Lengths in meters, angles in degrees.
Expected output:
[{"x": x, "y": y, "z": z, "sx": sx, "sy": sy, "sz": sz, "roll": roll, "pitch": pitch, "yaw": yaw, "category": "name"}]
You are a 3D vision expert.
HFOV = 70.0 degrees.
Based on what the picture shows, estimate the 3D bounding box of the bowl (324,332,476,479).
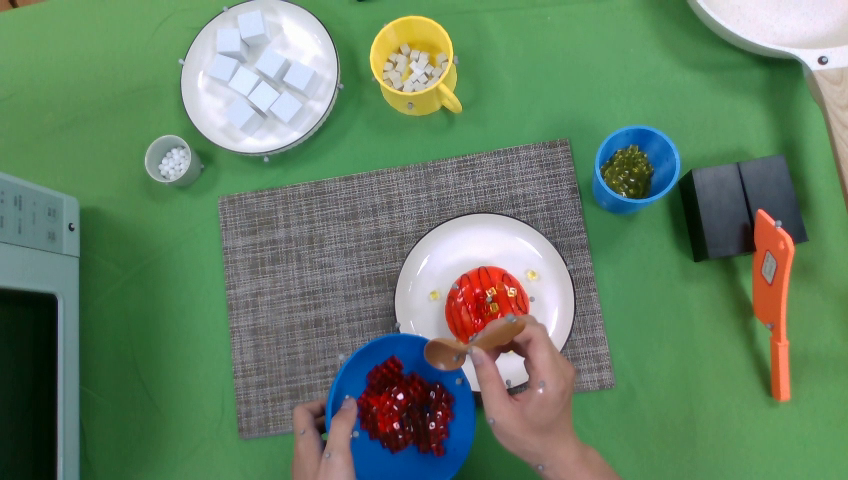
[{"x": -0.033, "y": 0.172, "z": 0.599, "sx": 0.152, "sy": 0.077, "sz": 0.150, "roll": 8, "pitch": 70, "yaw": -23, "category": "bowl"}]

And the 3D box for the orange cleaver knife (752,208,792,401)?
[{"x": 0.371, "y": 0.072, "z": 0.651, "sx": 0.012, "sy": 0.077, "sz": 0.212, "roll": -10, "pitch": 109, "yaw": 5, "category": "orange cleaver knife"}]

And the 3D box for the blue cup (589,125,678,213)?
[{"x": 0.225, "y": -0.070, "z": 0.679, "sx": 0.092, "sy": 0.100, "sz": 0.092, "roll": -1, "pitch": 80, "yaw": 5, "category": "blue cup"}]

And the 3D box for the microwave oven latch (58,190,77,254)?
[{"x": -0.458, "y": -0.022, "z": 0.764, "sx": 0.030, "sy": 0.029, "sz": 0.079, "roll": -3, "pitch": 82, "yaw": 6, "category": "microwave oven latch"}]

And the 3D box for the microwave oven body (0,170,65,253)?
[{"x": -0.601, "y": 0.152, "z": 0.657, "sx": 0.326, "sy": 0.261, "sz": 0.440, "roll": -6, "pitch": 82, "yaw": 5, "category": "microwave oven body"}]

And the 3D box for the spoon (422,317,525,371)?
[{"x": 0.040, "y": 0.092, "z": 0.523, "sx": 0.042, "sy": 0.194, "sz": 0.021, "roll": 37, "pitch": 67, "yaw": -4, "category": "spoon"}]

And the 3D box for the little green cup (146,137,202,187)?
[{"x": -0.318, "y": -0.097, "z": 0.776, "sx": 0.061, "sy": 0.039, "sz": 0.061, "roll": -1, "pitch": 82, "yaw": 5, "category": "little green cup"}]

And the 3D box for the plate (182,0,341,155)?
[{"x": -0.205, "y": -0.207, "z": 0.781, "sx": 0.207, "sy": 0.039, "sz": 0.207, "roll": -1, "pitch": 82, "yaw": 7, "category": "plate"}]

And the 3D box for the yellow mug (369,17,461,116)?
[{"x": -0.002, "y": -0.201, "z": 0.743, "sx": 0.130, "sy": 0.064, "sz": 0.100, "roll": 44, "pitch": 88, "yaw": 10, "category": "yellow mug"}]

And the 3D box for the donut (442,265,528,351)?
[{"x": 0.069, "y": 0.078, "z": 0.692, "sx": 0.099, "sy": 0.048, "sz": 0.099, "roll": -1, "pitch": 84, "yaw": 7, "category": "donut"}]

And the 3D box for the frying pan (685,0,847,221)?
[{"x": 0.435, "y": -0.243, "z": 0.678, "sx": 0.306, "sy": 0.103, "sz": 0.485, "roll": -4, "pitch": 73, "yaw": 7, "category": "frying pan"}]

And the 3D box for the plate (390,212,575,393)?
[{"x": 0.067, "y": 0.071, "z": 0.704, "sx": 0.209, "sy": 0.038, "sz": 0.208, "roll": -1, "pitch": 82, "yaw": 7, "category": "plate"}]

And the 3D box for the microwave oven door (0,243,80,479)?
[{"x": -0.454, "y": 0.178, "z": 0.631, "sx": 0.039, "sy": 0.245, "sz": 0.354, "roll": -6, "pitch": 81, "yaw": 6, "category": "microwave oven door"}]
